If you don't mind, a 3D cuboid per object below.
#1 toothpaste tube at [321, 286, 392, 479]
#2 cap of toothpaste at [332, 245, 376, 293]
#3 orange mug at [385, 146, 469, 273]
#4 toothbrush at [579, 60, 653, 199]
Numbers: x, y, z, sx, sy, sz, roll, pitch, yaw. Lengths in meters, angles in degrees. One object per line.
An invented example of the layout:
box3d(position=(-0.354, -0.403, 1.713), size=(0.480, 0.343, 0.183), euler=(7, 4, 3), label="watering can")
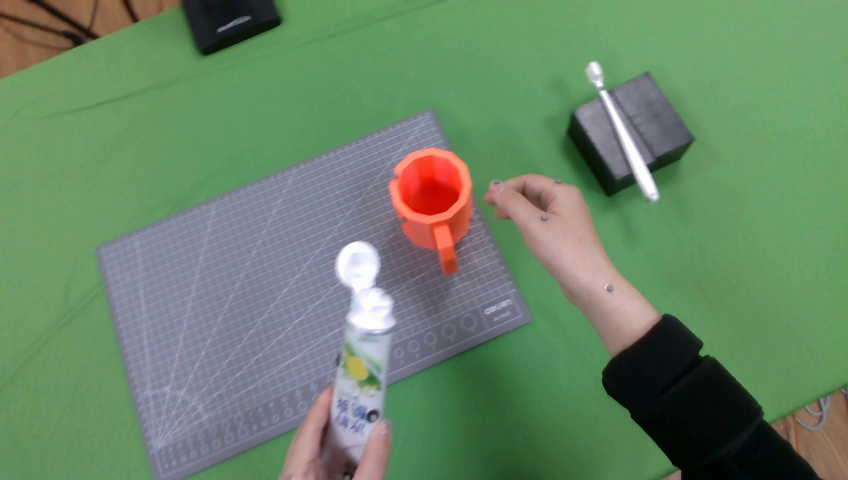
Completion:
box3d(position=(-0.050, 0.111, 0.450), size=(0.054, 0.034, 0.166), euler=(17, 109, 30), label="toothpaste tube")
box3d(position=(-0.049, 0.021, 0.441), size=(0.037, 0.011, 0.037), euler=(1, 88, -34), label="cap of toothpaste")
box3d(position=(0.011, -0.029, 0.675), size=(0.083, 0.101, 0.125), euler=(-15, 68, 0), label="orange mug")
box3d(position=(0.216, -0.127, 0.682), size=(0.014, 0.017, 0.180), euler=(-19, 73, -5), label="toothbrush")
